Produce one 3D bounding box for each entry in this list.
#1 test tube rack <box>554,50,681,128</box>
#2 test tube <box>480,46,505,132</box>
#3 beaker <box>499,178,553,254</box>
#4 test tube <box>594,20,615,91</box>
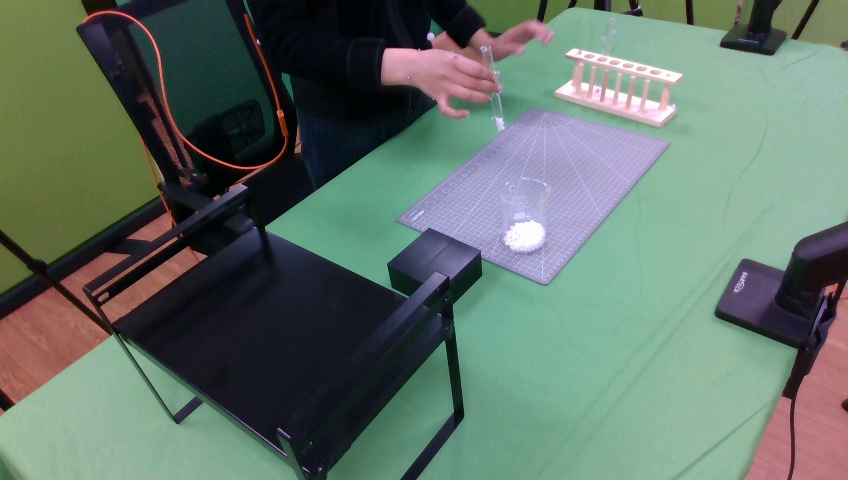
[{"bbox_3d":[0.387,-0.311,1.234,0.240,0.085,0.067,28,52,35],"label":"test tube rack"},{"bbox_3d":[0.111,-0.237,0.962,0.017,0.151,0.017,-11,40,10],"label":"test tube"},{"bbox_3d":[0.157,-0.036,0.929,0.084,0.100,0.073,-16,41,-12],"label":"beaker"},{"bbox_3d":[0.367,-0.372,1.233,0.017,0.151,0.017,0,43,0],"label":"test tube"}]
